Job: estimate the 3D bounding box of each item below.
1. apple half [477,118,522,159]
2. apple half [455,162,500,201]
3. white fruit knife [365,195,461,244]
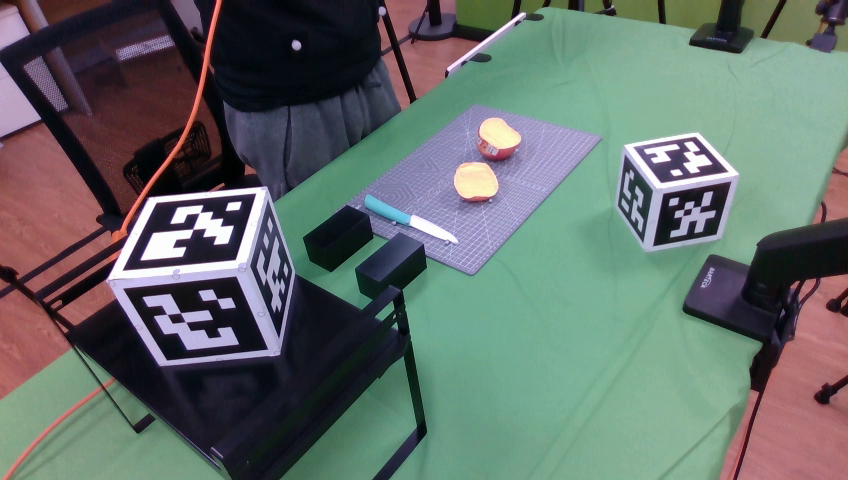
[{"bbox_3d":[0.136,-0.182,1.133,0.080,0.053,0.075,40,52,15],"label":"apple half"},{"bbox_3d":[0.090,-0.097,1.051,0.081,0.033,0.081,2,64,-3],"label":"apple half"},{"bbox_3d":[-0.023,-0.033,1.012,0.206,0.016,0.027,24,62,30],"label":"white fruit knife"}]
